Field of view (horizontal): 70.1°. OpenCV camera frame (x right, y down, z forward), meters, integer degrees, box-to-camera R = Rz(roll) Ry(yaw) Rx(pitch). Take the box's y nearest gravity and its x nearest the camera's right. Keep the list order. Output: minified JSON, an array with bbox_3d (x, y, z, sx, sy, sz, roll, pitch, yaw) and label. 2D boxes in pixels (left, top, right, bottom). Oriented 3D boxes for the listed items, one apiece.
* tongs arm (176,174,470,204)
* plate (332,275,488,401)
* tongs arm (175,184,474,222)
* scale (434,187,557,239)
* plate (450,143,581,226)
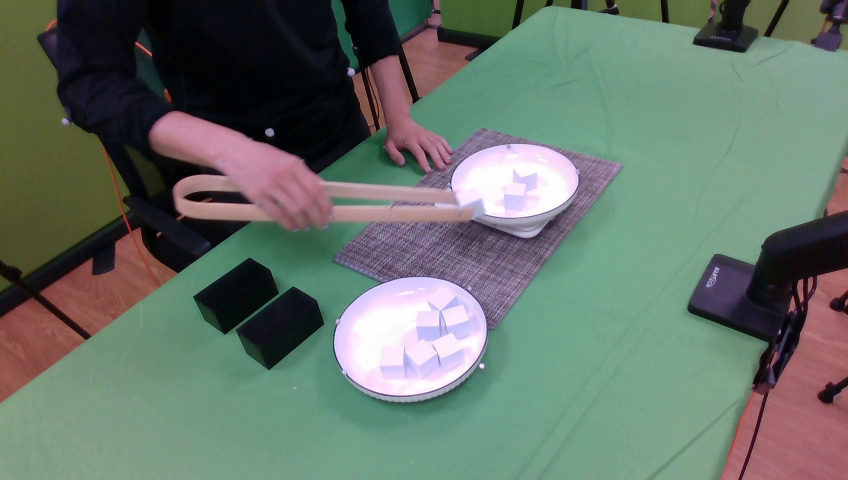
[{"bbox_3d":[-0.126,-0.065,0.819,0.389,0.028,0.028,2,49,-12],"label":"tongs arm"},{"bbox_3d":[-0.017,0.131,0.808,0.207,0.039,0.206,-4,41,4],"label":"plate"},{"bbox_3d":[-0.124,-0.049,0.803,0.387,0.026,0.050,-1,47,-15],"label":"tongs arm"},{"bbox_3d":[0.132,-0.075,1.025,0.199,0.032,0.149,22,48,30],"label":"scale"},{"bbox_3d":[0.148,-0.087,0.986,0.209,0.038,0.208,-4,41,4],"label":"plate"}]
